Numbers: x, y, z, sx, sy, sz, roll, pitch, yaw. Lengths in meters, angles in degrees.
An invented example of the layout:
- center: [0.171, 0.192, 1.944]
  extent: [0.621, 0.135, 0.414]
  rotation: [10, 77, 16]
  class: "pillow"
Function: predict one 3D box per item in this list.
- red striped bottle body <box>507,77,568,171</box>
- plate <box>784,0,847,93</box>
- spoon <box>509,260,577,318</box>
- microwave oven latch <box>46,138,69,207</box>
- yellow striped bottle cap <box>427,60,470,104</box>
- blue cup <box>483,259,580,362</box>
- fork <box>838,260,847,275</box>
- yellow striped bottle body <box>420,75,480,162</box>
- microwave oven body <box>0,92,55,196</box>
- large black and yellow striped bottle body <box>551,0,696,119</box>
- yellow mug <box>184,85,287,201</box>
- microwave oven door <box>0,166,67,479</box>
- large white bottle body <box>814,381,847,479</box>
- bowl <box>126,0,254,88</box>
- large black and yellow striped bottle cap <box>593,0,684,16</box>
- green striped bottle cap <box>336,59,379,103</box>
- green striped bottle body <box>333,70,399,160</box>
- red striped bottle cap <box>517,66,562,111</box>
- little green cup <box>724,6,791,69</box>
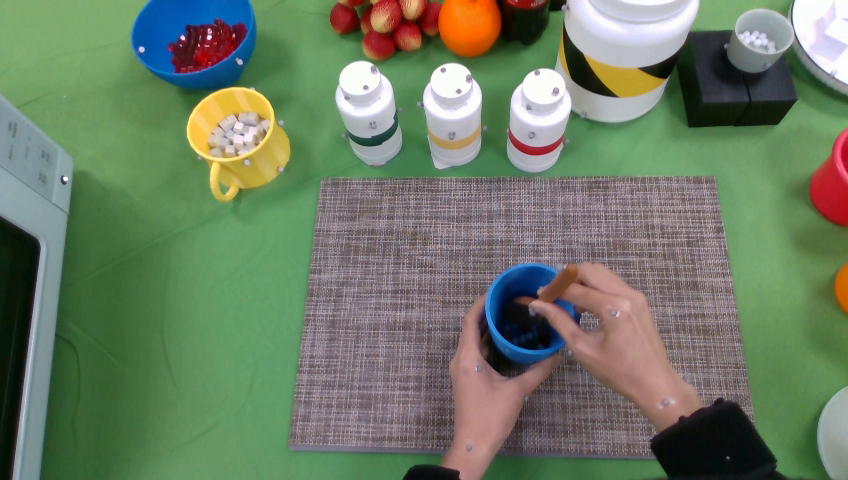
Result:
- center: [0.122, -0.131, 0.658]
  extent: [0.063, 0.121, 0.062]
  rotation: [-3, 65, 8]
  class: "red striped bottle body"
- center: [0.533, -0.249, 0.720]
  extent: [0.209, 0.038, 0.207]
  rotation: [-1, 68, 4]
  class: "plate"
- center: [0.103, 0.046, 0.528]
  extent: [0.041, 0.194, 0.021]
  rotation: [21, 77, 3]
  class: "spoon"
- center: [-0.432, -0.077, 0.700]
  extent: [0.030, 0.030, 0.078]
  rotation: [-7, 68, 1]
  class: "microwave oven latch"
- center: [0.025, -0.162, 0.621]
  extent: [0.044, 0.019, 0.044]
  rotation: [-1, 69, 3]
  class: "yellow striped bottle cap"
- center: [0.097, 0.076, 0.579]
  extent: [0.092, 0.101, 0.092]
  rotation: [-1, 67, 3]
  class: "blue cup"
- center: [0.479, 0.050, 0.539]
  extent: [0.028, 0.019, 0.205]
  rotation: [-34, 25, -14]
  class: "fork"
- center: [0.030, -0.142, 0.668]
  extent: [0.063, 0.121, 0.062]
  rotation: [-2, 67, 5]
  class: "yellow striped bottle body"
- center: [-0.562, 0.069, 0.545]
  extent: [0.326, 0.262, 0.438]
  rotation: [-9, 68, 0]
  class: "microwave oven body"
- center: [0.213, -0.234, 0.658]
  extent: [0.131, 0.185, 0.130]
  rotation: [-2, 67, 4]
  class: "large black and yellow striped bottle body"
- center: [-0.221, -0.107, 0.702]
  extent: [0.100, 0.064, 0.130]
  rotation: [10, 69, 7]
  class: "yellow mug"
- center: [-0.413, 0.084, 0.523]
  extent: [0.039, 0.245, 0.353]
  rotation: [-9, 67, 1]
  class: "microwave oven door"
- center: [0.421, 0.156, 0.480]
  extent: [0.130, 0.186, 0.129]
  rotation: [-2, 66, 4]
  class: "large white bottle body"
- center: [-0.277, -0.245, 0.757]
  extent: [0.151, 0.077, 0.150]
  rotation: [-1, 68, 3]
  class: "bowl"
- center: [0.205, -0.265, 0.580]
  extent: [0.115, 0.019, 0.114]
  rotation: [-2, 66, 4]
  class: "large black and yellow striped bottle cap"
- center: [-0.069, -0.166, 0.629]
  extent: [0.044, 0.020, 0.044]
  rotation: [-1, 66, 3]
  class: "green striped bottle cap"
- center: [-0.064, -0.145, 0.677]
  extent: [0.063, 0.120, 0.062]
  rotation: [-1, 67, 4]
  class: "green striped bottle body"
- center: [0.117, -0.153, 0.609]
  extent: [0.044, 0.018, 0.044]
  rotation: [0, 66, 0]
  class: "red striped bottle cap"
- center: [0.363, -0.220, 0.666]
  extent: [0.061, 0.039, 0.061]
  rotation: [-1, 66, 2]
  class: "little green cup"
